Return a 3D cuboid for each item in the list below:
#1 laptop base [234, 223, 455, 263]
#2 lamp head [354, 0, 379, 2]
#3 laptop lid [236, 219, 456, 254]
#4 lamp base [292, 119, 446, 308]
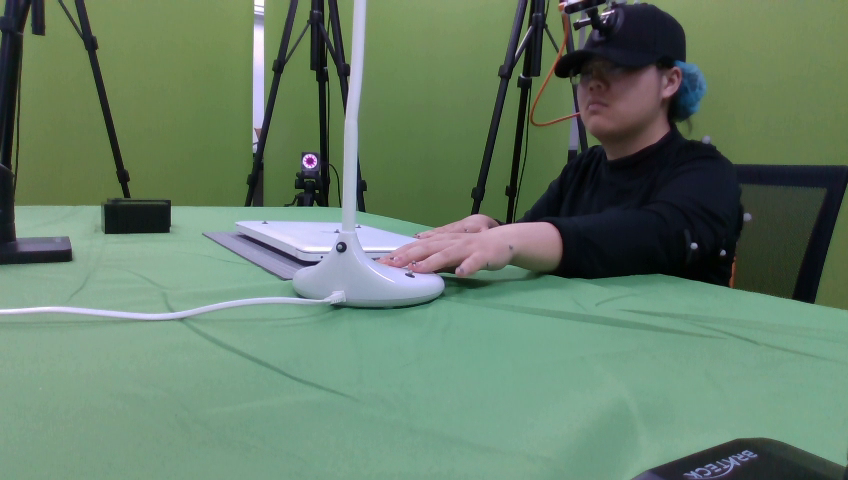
[{"bbox_3d":[-0.141,0.003,0.959,0.237,0.023,0.352,2,6,-32],"label":"laptop base"},{"bbox_3d":[-0.064,-0.327,0.626,0.112,0.112,0.123,2,-27,-6],"label":"lamp head"},{"bbox_3d":[-0.139,-0.008,0.958,0.243,0.013,0.355,1,7,-30],"label":"laptop lid"},{"bbox_3d":[-0.056,-0.030,0.616,0.160,0.180,0.179,4,10,8],"label":"lamp base"}]
